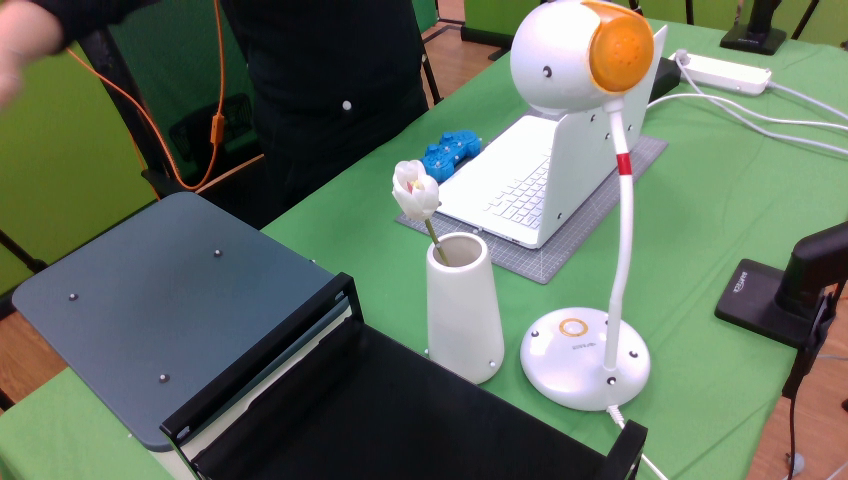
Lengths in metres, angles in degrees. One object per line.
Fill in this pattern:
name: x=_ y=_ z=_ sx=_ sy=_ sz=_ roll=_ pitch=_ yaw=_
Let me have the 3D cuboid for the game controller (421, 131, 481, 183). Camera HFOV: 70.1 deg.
game controller: x=0.040 y=-0.162 z=1.144 sx=0.096 sy=0.052 sz=0.155 roll=22 pitch=49 yaw=29

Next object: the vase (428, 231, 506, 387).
vase: x=0.050 y=0.087 z=0.728 sx=0.098 sy=0.201 sz=0.097 roll=-3 pitch=40 yaw=3

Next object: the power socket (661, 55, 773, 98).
power socket: x=0.619 y=-0.352 z=1.289 sx=0.225 sy=0.033 sz=0.072 roll=26 pitch=51 yaw=33

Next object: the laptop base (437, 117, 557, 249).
laptop base: x=0.192 y=-0.117 z=1.087 sx=0.233 sy=0.023 sz=0.355 roll=21 pitch=48 yaw=34

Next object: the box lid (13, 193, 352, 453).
box lid: x=-0.291 y=0.067 z=0.716 sx=0.368 sy=0.015 sz=0.264 roll=25 pitch=50 yaw=33

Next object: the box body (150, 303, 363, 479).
box body: x=-0.284 y=0.123 z=0.765 sx=0.361 sy=0.161 sz=0.255 roll=25 pitch=49 yaw=33

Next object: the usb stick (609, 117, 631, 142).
usb stick: x=0.369 y=-0.208 z=1.147 sx=0.021 sy=0.027 sz=0.059 roll=25 pitch=55 yaw=33

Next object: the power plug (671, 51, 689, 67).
power plug: x=0.540 y=-0.378 z=1.302 sx=0.073 sy=0.053 sz=0.035 roll=-31 pitch=46 yaw=-23

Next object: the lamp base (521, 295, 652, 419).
lamp base: x=0.200 y=0.095 z=0.710 sx=0.161 sy=0.181 sz=0.177 roll=-16 pitch=43 yaw=-10

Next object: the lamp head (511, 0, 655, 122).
lamp head: x=0.155 y=-0.168 z=0.563 sx=0.113 sy=0.113 sz=0.122 roll=-18 pitch=23 yaw=-12

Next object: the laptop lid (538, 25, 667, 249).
laptop lid: x=0.281 y=-0.163 z=0.942 sx=0.013 sy=0.242 sz=0.358 roll=28 pitch=50 yaw=27

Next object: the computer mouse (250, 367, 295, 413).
computer mouse: x=-0.196 y=0.181 z=0.771 sx=0.063 sy=0.041 sz=0.116 roll=-12 pitch=47 yaw=-11

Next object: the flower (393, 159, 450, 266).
flower: x=0.028 y=0.035 z=0.665 sx=0.043 sy=0.364 sz=0.038 roll=34 pitch=72 yaw=29
